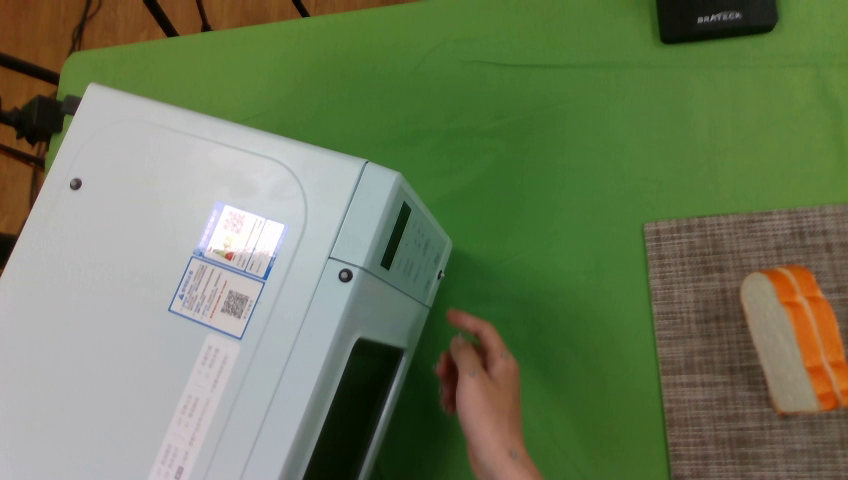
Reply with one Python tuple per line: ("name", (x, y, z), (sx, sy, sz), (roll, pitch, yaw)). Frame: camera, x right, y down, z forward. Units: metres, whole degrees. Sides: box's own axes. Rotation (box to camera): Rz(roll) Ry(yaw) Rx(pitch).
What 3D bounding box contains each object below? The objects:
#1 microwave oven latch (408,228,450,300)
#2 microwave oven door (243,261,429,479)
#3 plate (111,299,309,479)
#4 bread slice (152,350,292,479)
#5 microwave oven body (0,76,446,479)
("microwave oven latch", (0.004, 0.023, 0.653), (0.030, 0.030, 0.079), (19, 83, 15))
("microwave oven door", (-0.094, 0.204, 0.528), (0.039, 0.245, 0.355), (17, 82, 16))
("plate", (-0.215, 0.165, 0.624), (0.207, 0.039, 0.206), (-2, 76, 9))
("bread slice", (-0.210, 0.192, 0.621), (0.134, 0.018, 0.106), (-29, 73, -3))
("microwave oven body", (-0.212, 0.124, 0.577), (0.324, 0.262, 0.440), (18, 83, 15))
